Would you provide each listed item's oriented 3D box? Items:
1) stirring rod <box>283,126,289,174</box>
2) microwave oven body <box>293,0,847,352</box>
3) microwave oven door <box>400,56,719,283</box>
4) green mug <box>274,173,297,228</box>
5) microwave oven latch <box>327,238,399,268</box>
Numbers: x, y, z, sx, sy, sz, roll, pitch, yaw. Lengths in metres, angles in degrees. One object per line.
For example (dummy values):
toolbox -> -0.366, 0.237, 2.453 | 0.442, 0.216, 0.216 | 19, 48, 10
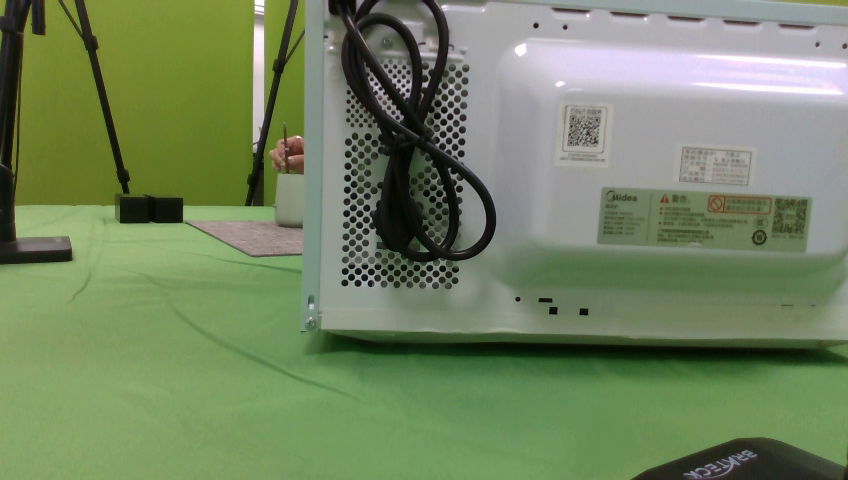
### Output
stirring rod -> -0.274, -0.139, 1.209 | 0.006, 0.176, 0.014 | -2, 4, -6
microwave oven body -> 0.122, -0.055, 0.550 | 0.442, 0.260, 0.325 | 3, 7, -5
microwave oven door -> 0.155, -0.078, 0.697 | 0.356, 0.243, 0.039 | 2, 8, -5
green mug -> -0.242, -0.081, 1.221 | 0.092, 0.105, 0.126 | 8, 9, 39
microwave oven latch -> -0.069, 0.015, 0.694 | 0.079, 0.029, 0.030 | 3, 7, -3
